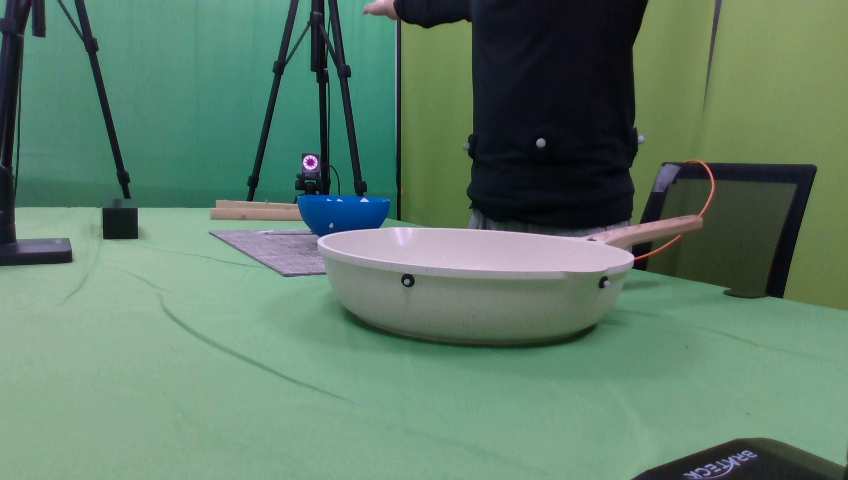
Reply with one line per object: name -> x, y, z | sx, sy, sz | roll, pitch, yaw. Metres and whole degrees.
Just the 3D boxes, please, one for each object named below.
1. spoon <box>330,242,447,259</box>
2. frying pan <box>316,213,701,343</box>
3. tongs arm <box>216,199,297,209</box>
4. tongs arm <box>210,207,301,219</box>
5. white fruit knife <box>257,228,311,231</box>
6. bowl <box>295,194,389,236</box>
spoon -> -0.046, 0.011, 0.883 | 0.195, 0.021, 0.041 | -4, 24, -30
frying pan -> 0.133, 0.013, 0.629 | 0.490, 0.102, 0.305 | -12, 14, -30
tongs arm -> -0.307, -0.076, 1.470 | 0.386, 0.026, 0.050 | 2, 8, -11
tongs arm -> -0.287, -0.061, 1.392 | 0.389, 0.028, 0.028 | 0, 5, -23
white fruit knife -> -0.202, -0.021, 1.116 | 0.208, 0.016, 0.027 | -2, -1, -24
bowl -> -0.132, -0.032, 0.980 | 0.151, 0.077, 0.151 | 2, 7, 0
